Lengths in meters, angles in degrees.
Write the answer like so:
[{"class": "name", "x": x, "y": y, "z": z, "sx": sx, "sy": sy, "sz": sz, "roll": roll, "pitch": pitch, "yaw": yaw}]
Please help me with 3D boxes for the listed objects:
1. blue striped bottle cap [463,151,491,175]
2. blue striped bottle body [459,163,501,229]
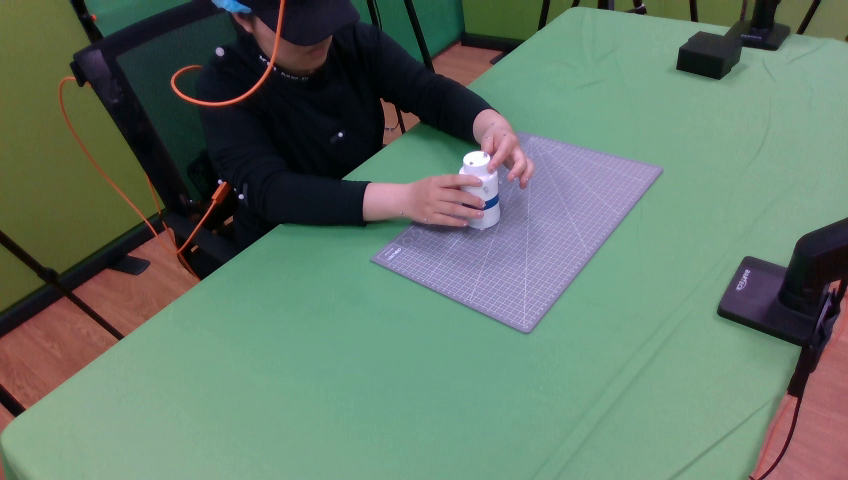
[{"class": "blue striped bottle cap", "x": 0.083, "y": -0.121, "z": 0.950, "sx": 0.044, "sy": 0.021, "sz": 0.044, "roll": -4, "pitch": 41, "yaw": 4}, {"class": "blue striped bottle body", "x": 0.091, "y": -0.082, "z": 0.982, "sx": 0.063, "sy": 0.121, "sz": 0.063, "roll": -6, "pitch": 40, "yaw": 5}]
